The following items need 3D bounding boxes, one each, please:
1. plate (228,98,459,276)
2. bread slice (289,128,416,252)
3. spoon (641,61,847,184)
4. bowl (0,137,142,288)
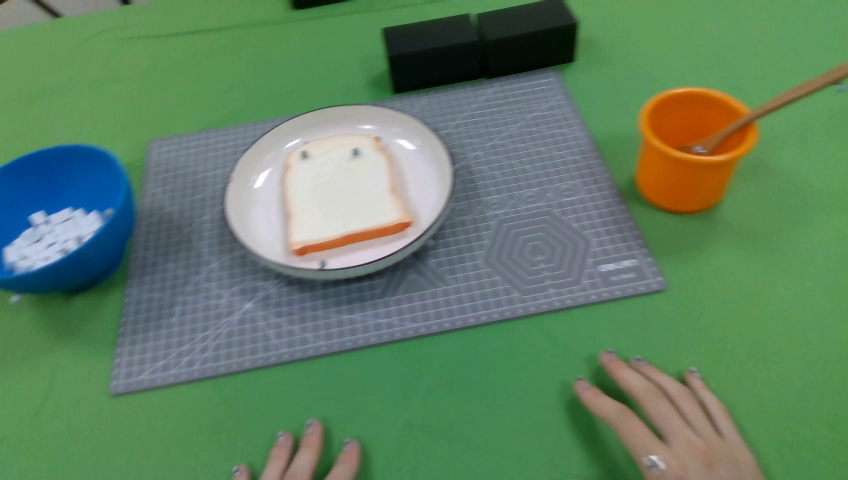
[{"bbox_3d":[-0.072,-0.049,0.557,0.209,0.038,0.207,-3,53,5],"label":"plate"},{"bbox_3d":[-0.075,-0.051,0.562,0.107,0.018,0.133,-16,54,-5],"label":"bread slice"},{"bbox_3d":[0.265,-0.097,0.489,0.022,0.193,0.041,28,49,-29],"label":"spoon"},{"bbox_3d":[-0.313,-0.011,0.533,0.151,0.077,0.150,-3,52,4],"label":"bowl"}]
